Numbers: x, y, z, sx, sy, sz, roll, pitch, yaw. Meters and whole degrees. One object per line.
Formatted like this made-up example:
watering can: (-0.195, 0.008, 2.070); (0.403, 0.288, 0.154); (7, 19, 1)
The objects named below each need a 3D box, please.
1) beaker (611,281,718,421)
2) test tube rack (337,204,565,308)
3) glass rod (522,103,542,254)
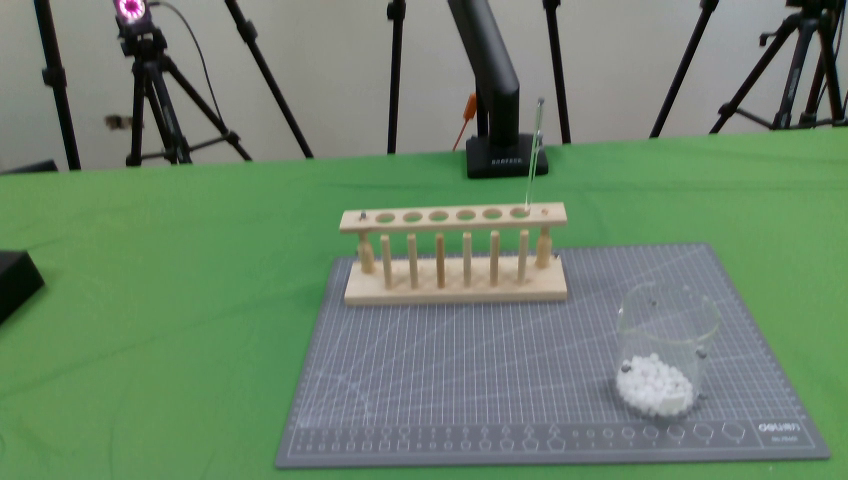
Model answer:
beaker: (0.197, 0.097, 0.514); (0.084, 0.101, 0.073); (-13, 35, -10)
test tube rack: (0.030, 0.018, 0.663); (0.242, 0.086, 0.066); (-2, 35, 5)
glass rod: (0.110, -0.047, 0.629); (0.008, 0.201, 0.008); (0, 36, 1)
